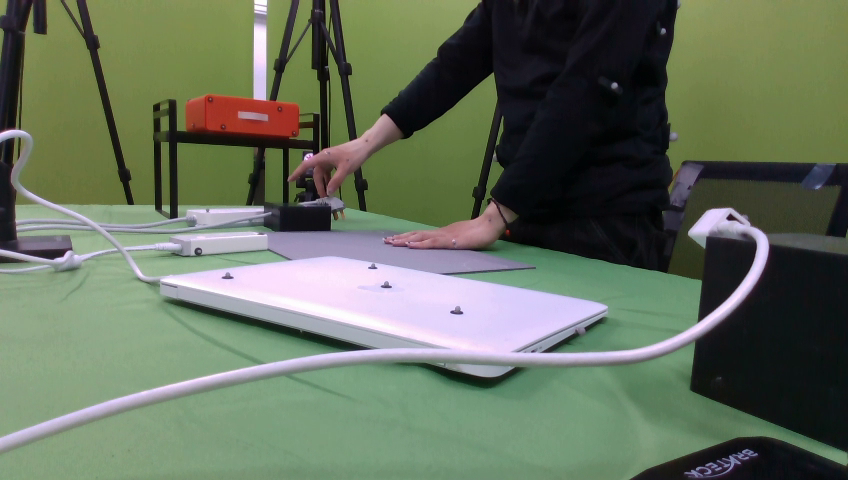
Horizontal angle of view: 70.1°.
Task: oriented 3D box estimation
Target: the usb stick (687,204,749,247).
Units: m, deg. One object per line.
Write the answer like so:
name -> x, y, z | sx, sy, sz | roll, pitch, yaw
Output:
usb stick -> 0.214, -0.010, 0.448 | 0.021, 0.027, 0.059 | 39, 2, 6

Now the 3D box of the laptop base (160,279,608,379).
laptop base -> -0.039, 0.059, 0.555 | 0.352, 0.023, 0.237 | 8, 7, 33

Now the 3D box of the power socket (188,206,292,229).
power socket -> -0.363, -0.048, 1.208 | 0.072, 0.032, 0.228 | 7, 9, 36

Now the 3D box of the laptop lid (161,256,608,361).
laptop lid -> -0.037, 0.046, 0.556 | 0.355, 0.013, 0.243 | 8, 8, 35

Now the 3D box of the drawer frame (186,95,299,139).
drawer frame -> -0.417, -0.277, 1.378 | 0.203, 0.082, 0.212 | -3, 8, -32

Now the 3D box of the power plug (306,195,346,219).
power plug -> -0.192, -0.061, 1.200 | 0.073, 0.052, 0.035 | -18, -5, -8

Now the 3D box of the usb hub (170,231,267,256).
usb hub -> -0.290, 0.004, 0.862 | 0.049, 0.025, 0.126 | 10, 11, 42

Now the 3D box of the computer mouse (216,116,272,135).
computer mouse -> -0.402, -0.257, 1.353 | 0.118, 0.041, 0.062 | -5, 14, -35

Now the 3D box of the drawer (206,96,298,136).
drawer -> -0.414, -0.275, 1.376 | 0.195, 0.073, 0.210 | -3, 8, -31
